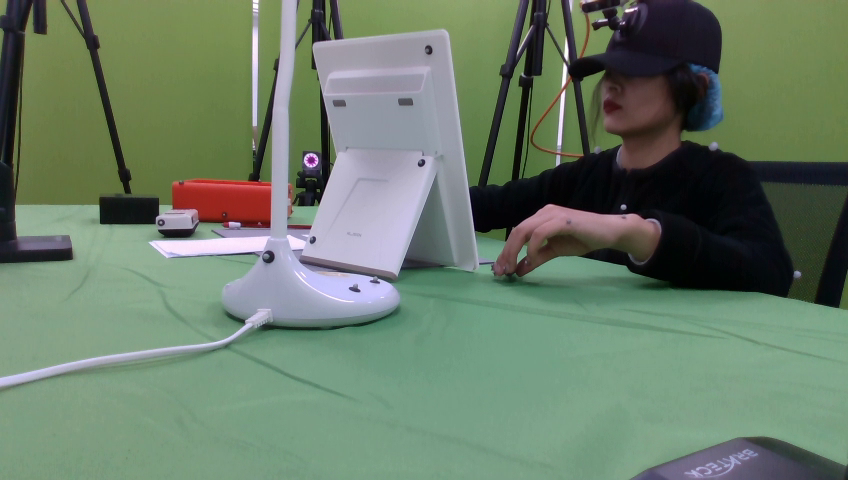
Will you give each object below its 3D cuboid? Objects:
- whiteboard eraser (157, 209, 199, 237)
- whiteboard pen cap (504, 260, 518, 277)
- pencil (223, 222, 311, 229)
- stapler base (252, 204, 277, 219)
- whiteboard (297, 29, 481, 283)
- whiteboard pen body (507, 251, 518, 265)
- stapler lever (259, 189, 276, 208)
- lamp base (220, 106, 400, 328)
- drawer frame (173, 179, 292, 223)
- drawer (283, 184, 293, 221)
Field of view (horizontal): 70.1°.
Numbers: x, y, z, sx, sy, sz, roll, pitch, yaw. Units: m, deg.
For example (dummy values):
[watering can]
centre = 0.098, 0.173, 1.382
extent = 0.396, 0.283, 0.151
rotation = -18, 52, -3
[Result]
[whiteboard eraser]
centre = -0.411, -0.029, 1.016
extent = 0.056, 0.042, 0.112
rotation = 2, 7, -16
[whiteboard pen cap]
centre = 0.109, 0.034, 0.759
extent = 0.018, 0.018, 0.033
rotation = 3, 12, 7
[pencil]
centre = -0.274, -0.025, 1.132
extent = 0.195, 0.012, 0.012
rotation = 1, 7, -25
[stapler base]
centre = -0.341, -0.065, 1.301
extent = 0.041, 0.024, 0.130
rotation = 15, 5, -10
[whiteboard]
centre = -0.076, -0.082, 0.741
extent = 0.216, 0.305, 0.144
rotation = 9, 29, 37
[whiteboard pen body]
centre = 0.119, 0.030, 0.816
extent = 0.017, 0.017, 0.141
rotation = 4, 6, 9
[stapler lever]
centre = -0.335, -0.090, 1.300
extent = 0.027, 0.040, 0.118
rotation = 15, 4, -10
[lamp base]
centre = -0.101, -0.023, 0.531
extent = 0.160, 0.180, 0.179
rotation = 4, 10, 10
[drawer frame]
centre = -0.400, -0.086, 1.299
extent = 0.214, 0.082, 0.201
rotation = 1, 8, -8
[drawer]
centre = -0.396, -0.085, 1.301
extent = 0.212, 0.073, 0.194
rotation = 1, 8, -7
